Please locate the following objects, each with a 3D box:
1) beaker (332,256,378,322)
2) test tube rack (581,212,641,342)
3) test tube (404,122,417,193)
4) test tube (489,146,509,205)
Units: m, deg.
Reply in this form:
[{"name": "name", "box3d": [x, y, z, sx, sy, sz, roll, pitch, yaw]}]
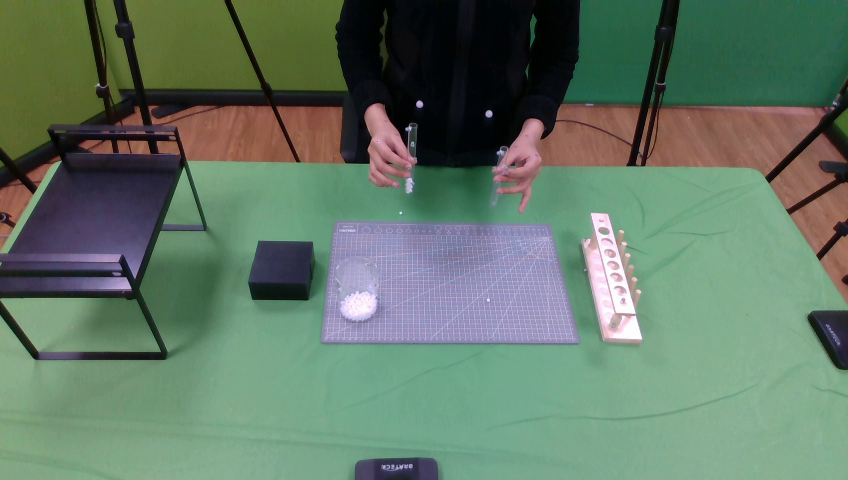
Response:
[{"name": "beaker", "box3d": [-0.114, 0.089, 1.047, 0.083, 0.101, 0.074, 30, 52, 21]}, {"name": "test tube rack", "box3d": [0.351, 0.064, 1.121, 0.067, 0.085, 0.241, 3, 46, -1]}, {"name": "test tube", "box3d": [-0.025, -0.146, 1.097, 0.017, 0.151, 0.017, 3, 42, -3]}, {"name": "test tube", "box3d": [0.135, -0.115, 1.109, 0.017, 0.151, 0.017, 2, 54, -2]}]
